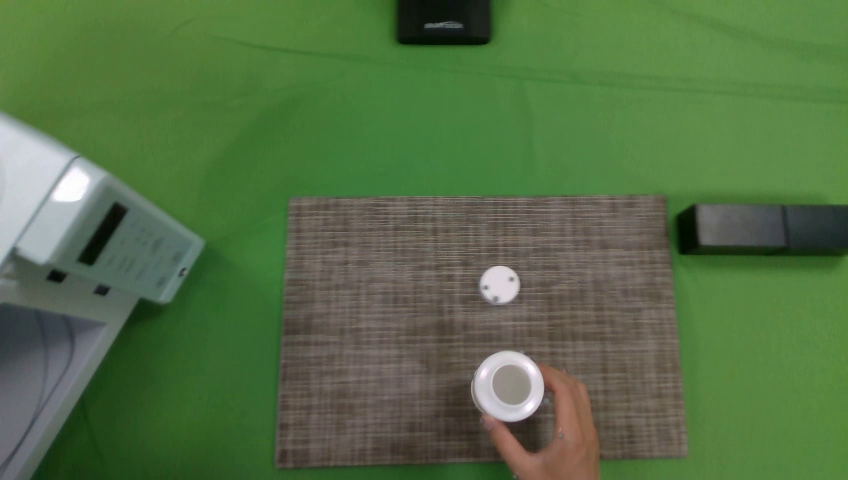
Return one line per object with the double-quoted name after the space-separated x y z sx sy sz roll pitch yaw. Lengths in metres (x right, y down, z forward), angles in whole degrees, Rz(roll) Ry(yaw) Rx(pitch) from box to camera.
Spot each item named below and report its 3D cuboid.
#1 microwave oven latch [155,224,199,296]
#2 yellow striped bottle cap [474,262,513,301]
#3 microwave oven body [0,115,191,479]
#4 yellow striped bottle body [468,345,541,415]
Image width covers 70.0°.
-0.278 0.020 0.661 0.030 0.029 0.079 28 79 4 "microwave oven latch"
0.079 0.047 0.694 0.044 0.019 0.044 0 79 -1 "yellow striped bottle cap"
-0.486 0.089 0.540 0.326 0.261 0.440 26 79 3 "microwave oven body"
0.075 0.135 0.577 0.063 0.121 0.062 0 75 1 "yellow striped bottle body"
